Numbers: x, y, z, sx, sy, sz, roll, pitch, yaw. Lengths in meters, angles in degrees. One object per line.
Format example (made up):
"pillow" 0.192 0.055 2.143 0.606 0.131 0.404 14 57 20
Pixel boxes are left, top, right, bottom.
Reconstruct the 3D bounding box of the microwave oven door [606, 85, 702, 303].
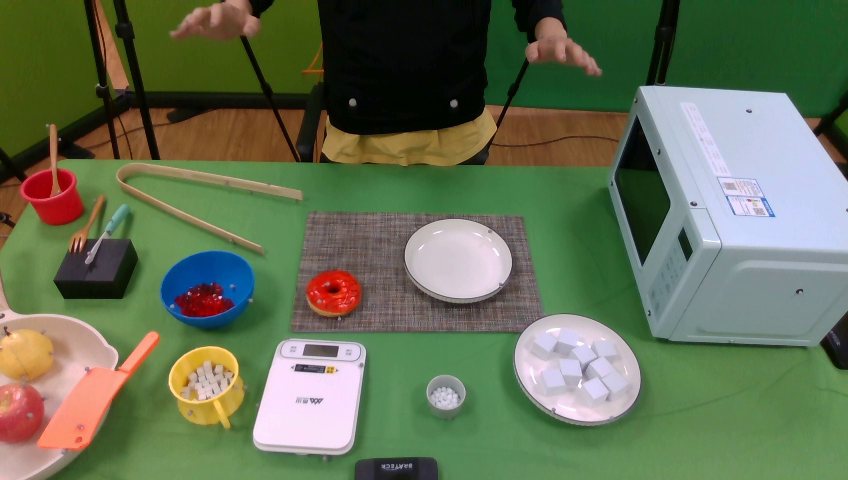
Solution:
"microwave oven door" 0.423 -0.094 1.140 0.039 0.245 0.353 2 46 -1

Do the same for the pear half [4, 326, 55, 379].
"pear half" -0.609 0.159 0.934 0.076 0.110 0.056 32 52 20

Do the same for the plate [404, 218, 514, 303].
"plate" 0.064 0.042 1.146 0.209 0.038 0.208 3 46 -2

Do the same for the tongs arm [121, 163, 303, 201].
"tongs arm" -0.444 -0.114 1.266 0.384 0.026 0.050 12 51 7

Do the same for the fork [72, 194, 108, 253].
"fork" -0.634 -0.036 1.158 0.028 0.019 0.206 -8 32 -8

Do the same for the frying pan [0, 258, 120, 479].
"frying pan" -0.647 0.164 0.936 0.307 0.103 0.485 -19 58 -22

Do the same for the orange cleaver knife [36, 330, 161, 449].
"orange cleaver knife" -0.466 0.210 0.880 0.077 0.012 0.210 15 46 9

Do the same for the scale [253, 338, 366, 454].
"scale" -0.175 0.236 0.951 0.149 0.032 0.199 4 45 -1

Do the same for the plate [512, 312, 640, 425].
"plate" 0.246 0.213 0.999 0.208 0.039 0.206 2 46 -2

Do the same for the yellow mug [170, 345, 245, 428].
"yellow mug" -0.322 0.230 0.922 0.100 0.064 0.130 -24 53 -25

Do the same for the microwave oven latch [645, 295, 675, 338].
"microwave oven latch" 0.411 0.134 1.061 0.030 0.029 0.078 3 45 0

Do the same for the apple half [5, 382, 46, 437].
"apple half" -0.567 0.245 0.877 0.033 0.082 0.080 -9 47 -7

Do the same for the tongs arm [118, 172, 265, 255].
"tongs arm" -0.473 -0.054 1.212 0.386 0.028 0.028 23 57 17

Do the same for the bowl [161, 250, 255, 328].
"bowl" -0.362 0.098 1.039 0.151 0.077 0.150 2 45 -2

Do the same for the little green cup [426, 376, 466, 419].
"little green cup" 0.033 0.248 0.950 0.061 0.039 0.061 2 46 -2

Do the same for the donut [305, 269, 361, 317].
"donut" -0.160 0.094 1.075 0.099 0.048 0.098 4 46 -4

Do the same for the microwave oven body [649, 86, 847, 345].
"microwave oven body" 0.567 -0.053 1.119 0.326 0.261 0.439 2 45 -1

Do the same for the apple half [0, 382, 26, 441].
"apple half" -0.605 0.250 0.871 0.053 0.075 0.080 -9 51 -7

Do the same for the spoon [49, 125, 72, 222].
"spoon" -0.718 -0.131 1.189 0.041 0.021 0.193 -4 90 -6

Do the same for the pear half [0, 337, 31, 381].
"pear half" -0.632 0.185 0.920 0.070 0.088 0.031 30 50 20

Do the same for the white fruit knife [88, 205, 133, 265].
"white fruit knife" -0.584 -0.013 1.129 0.016 0.027 0.206 0 32 -5
